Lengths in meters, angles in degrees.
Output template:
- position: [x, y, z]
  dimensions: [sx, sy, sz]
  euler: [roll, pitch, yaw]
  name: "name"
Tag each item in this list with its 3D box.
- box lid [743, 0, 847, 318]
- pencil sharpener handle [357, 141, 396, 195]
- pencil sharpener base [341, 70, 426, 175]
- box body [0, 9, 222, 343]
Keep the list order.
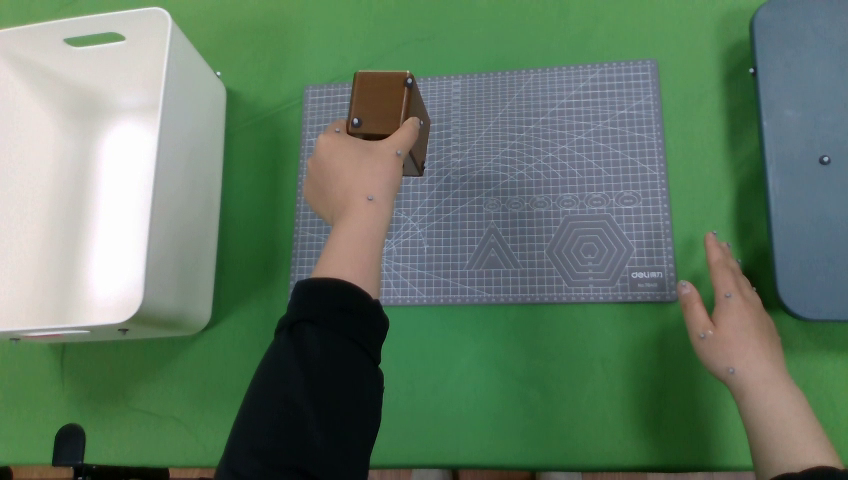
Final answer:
- position: [0.483, -0.103, 0.624]
  dimensions: [0.263, 0.015, 0.369]
  euler: [0, 75, 9]
  name: "box lid"
- position: [-0.044, -0.070, 0.603]
  dimensions: [0.036, 0.068, 0.030]
  euler: [1, 74, 19]
  name: "pencil sharpener handle"
- position: [-0.039, -0.116, 0.628]
  dimensions: [0.061, 0.108, 0.076]
  euler: [3, 75, 11]
  name: "pencil sharpener base"
- position: [-0.394, -0.062, 0.727]
  dimensions: [0.254, 0.161, 0.362]
  euler: [-5, 74, 8]
  name: "box body"
